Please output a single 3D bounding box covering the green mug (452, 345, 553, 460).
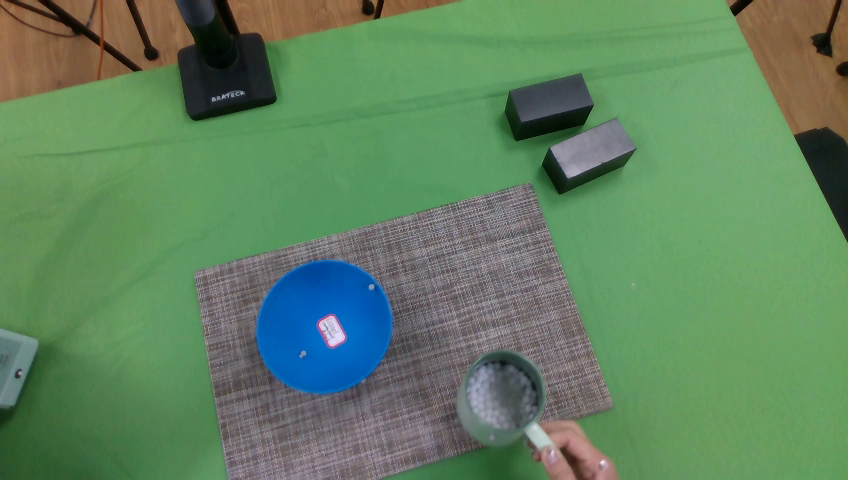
[{"bbox_3d":[0.086,0.171,0.623,0.092,0.105,0.124,-37,72,-13],"label":"green mug"}]

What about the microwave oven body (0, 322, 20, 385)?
[{"bbox_3d":[-0.660,0.240,0.555,0.326,0.261,0.439,12,73,3],"label":"microwave oven body"}]

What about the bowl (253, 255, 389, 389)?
[{"bbox_3d":[-0.114,0.100,0.703,0.151,0.077,0.150,0,72,0],"label":"bowl"}]

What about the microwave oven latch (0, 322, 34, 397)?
[{"bbox_3d":[-0.477,0.138,0.692,0.030,0.029,0.079,14,73,3],"label":"microwave oven latch"}]
